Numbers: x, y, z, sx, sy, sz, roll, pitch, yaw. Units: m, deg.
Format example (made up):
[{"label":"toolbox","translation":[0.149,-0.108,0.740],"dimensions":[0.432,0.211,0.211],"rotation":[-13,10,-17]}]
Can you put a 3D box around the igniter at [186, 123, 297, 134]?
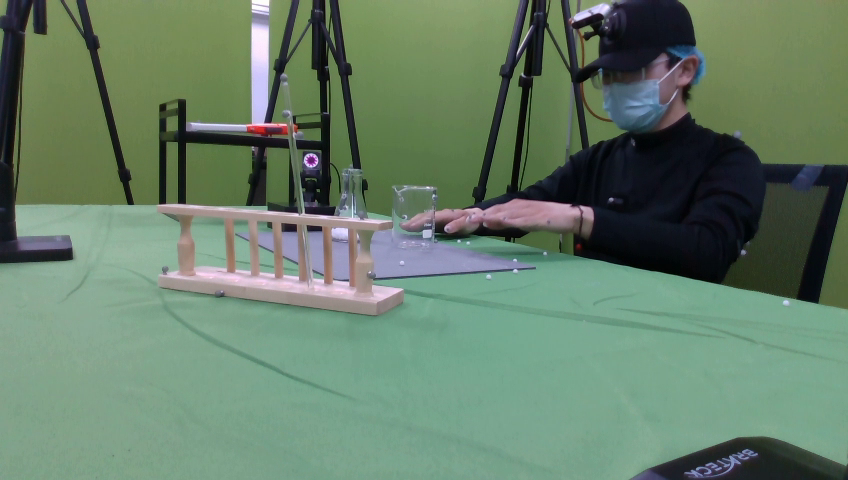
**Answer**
[{"label":"igniter","translation":[-0.392,-0.248,1.341],"dimensions":[0.057,0.025,0.278],"rotation":[9,14,38]}]

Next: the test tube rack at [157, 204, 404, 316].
[{"label":"test tube rack","translation":[-0.143,0.013,0.599],"dimensions":[0.242,0.085,0.067],"rotation":[5,8,19]}]

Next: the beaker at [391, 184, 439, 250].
[{"label":"beaker","translation":[-0.017,-0.038,0.961],"dimensions":[0.073,0.100,0.084],"rotation":[7,9,33]}]

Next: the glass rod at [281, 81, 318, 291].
[{"label":"glass rod","translation":[-0.116,-0.047,0.563],"dimensions":[0.008,0.199,0.008],"rotation":[-7,5,1]}]

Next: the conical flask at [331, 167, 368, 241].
[{"label":"conical flask","translation":[-0.123,-0.061,1.019],"dimensions":[0.075,0.122,0.075],"rotation":[2,7,0]}]
